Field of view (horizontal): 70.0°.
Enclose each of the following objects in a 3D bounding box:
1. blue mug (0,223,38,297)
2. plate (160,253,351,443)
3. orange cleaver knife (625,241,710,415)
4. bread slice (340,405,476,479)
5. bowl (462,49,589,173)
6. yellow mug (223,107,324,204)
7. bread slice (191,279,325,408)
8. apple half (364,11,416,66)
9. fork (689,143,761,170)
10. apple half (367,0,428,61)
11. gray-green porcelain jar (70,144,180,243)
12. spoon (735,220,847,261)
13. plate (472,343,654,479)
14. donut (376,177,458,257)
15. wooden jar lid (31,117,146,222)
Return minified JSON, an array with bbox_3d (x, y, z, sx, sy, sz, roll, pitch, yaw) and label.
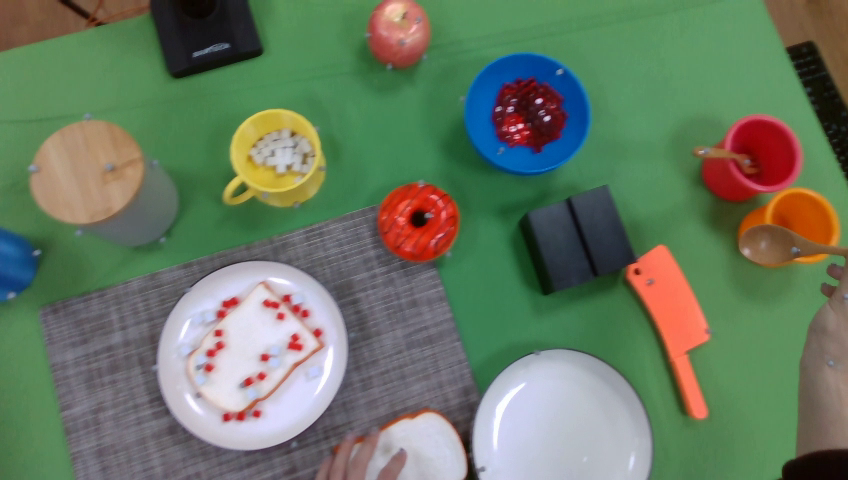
[{"bbox_3d":[-0.499,0.026,0.649,0.116,0.106,0.082,-43,84,-11],"label":"blue mug"},{"bbox_3d":[-0.186,0.120,0.685,0.208,0.039,0.206,1,79,-4],"label":"plate"},{"bbox_3d":[0.311,0.104,0.740,0.077,0.012,0.210,-16,79,-14],"label":"orange cleaver knife"},{"bbox_3d":[-0.007,0.243,0.652,0.134,0.018,0.106,-23,78,-28],"label":"bread slice"},{"bbox_3d":[0.117,-0.146,0.744,0.151,0.077,0.150,1,79,-4],"label":"bowl"},{"bbox_3d":[-0.184,-0.089,0.717,0.131,0.064,0.100,-42,85,-10],"label":"yellow mug"},{"bbox_3d":[-0.194,0.124,0.685,0.104,0.019,0.131,44,79,5],"label":"bread slice"},{"bbox_3d":[-0.049,-0.239,0.751,0.081,0.081,0.032,37,74,4],"label":"apple half"},{"bbox_3d":[0.360,-0.101,0.719,0.208,0.018,0.028,-1,75,-47],"label":"fork"},{"bbox_3d":[-0.026,-0.269,0.760,0.080,0.075,0.053,37,73,8],"label":"apple half"},{"bbox_3d":[-0.337,-0.056,0.667,0.106,0.127,0.105,1,78,-4],"label":"gray-green porcelain jar"},{"bbox_3d":[0.376,0.008,0.547,0.022,0.192,0.041,11,90,-29],"label":"spoon"},{"bbox_3d":[0.156,0.224,0.694,0.209,0.038,0.208,1,79,-4],"label":"plate"},{"bbox_3d":[-0.008,-0.027,0.724,0.099,0.048,0.098,1,79,-5],"label":"donut"},{"bbox_3d":[-0.333,-0.069,0.606,0.108,0.021,0.108,1,77,-3],"label":"wooden jar lid"}]
